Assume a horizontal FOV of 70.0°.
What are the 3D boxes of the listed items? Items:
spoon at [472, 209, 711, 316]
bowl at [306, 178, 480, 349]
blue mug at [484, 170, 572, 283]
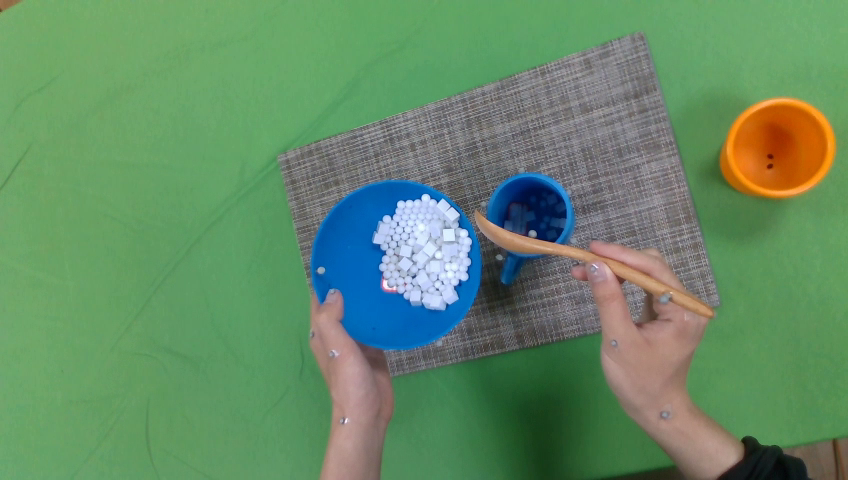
[{"bbox_3d":[0.111,0.013,0.439,0.192,0.042,0.021,20,77,36],"label":"spoon"},{"bbox_3d":[-0.029,0.024,0.562,0.151,0.077,0.151,1,83,-5],"label":"bowl"},{"bbox_3d":[0.104,-0.009,0.628,0.082,0.106,0.116,24,96,14],"label":"blue mug"}]
